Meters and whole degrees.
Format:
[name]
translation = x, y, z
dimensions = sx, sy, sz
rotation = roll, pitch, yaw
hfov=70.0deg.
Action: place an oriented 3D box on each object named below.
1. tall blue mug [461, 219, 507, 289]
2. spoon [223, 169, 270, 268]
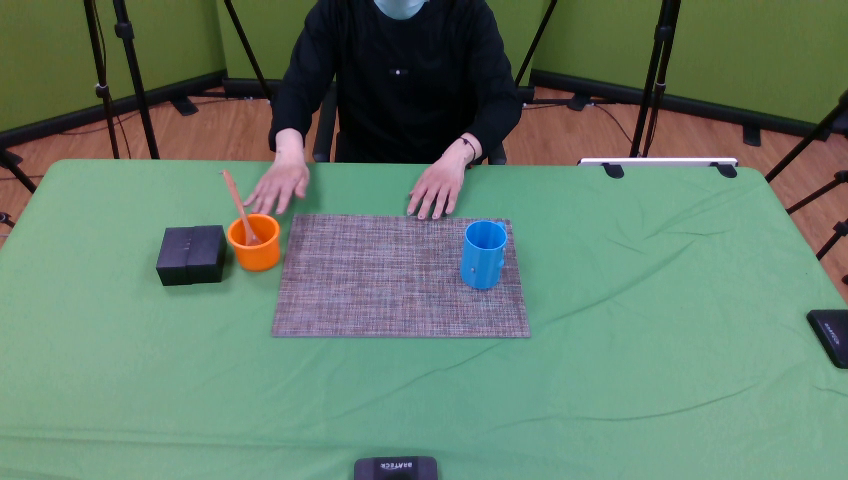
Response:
[tall blue mug]
translation = 0.111, 0.016, 1.122
dimensions = 0.078, 0.108, 0.106
rotation = 6, 46, 4
[spoon]
translation = -0.333, -0.040, 1.124
dimensions = 0.041, 0.194, 0.021
rotation = -20, 7, -17
